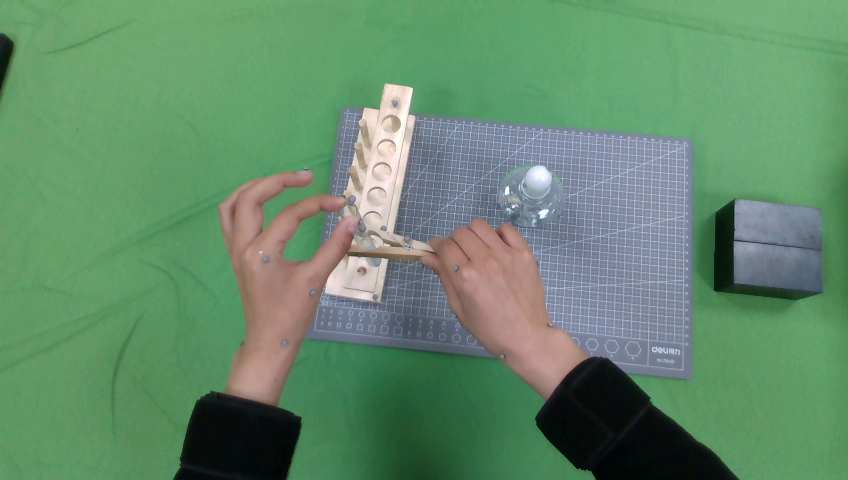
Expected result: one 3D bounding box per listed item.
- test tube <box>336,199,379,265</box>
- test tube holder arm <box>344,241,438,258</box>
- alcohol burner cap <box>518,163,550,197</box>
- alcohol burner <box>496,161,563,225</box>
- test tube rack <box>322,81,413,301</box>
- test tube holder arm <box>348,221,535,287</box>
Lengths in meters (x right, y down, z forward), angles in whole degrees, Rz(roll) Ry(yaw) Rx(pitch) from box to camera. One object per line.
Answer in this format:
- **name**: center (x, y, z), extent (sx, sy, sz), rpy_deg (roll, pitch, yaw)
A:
- **test tube**: center (-0.059, -0.003, 0.558), extent (0.017, 0.151, 0.017), rpy_deg (-1, 72, 4)
- **test tube holder arm**: center (-0.030, 0.009, 0.560), extent (0.088, 0.015, 0.010), rpy_deg (2, 70, 6)
- **alcohol burner cap**: center (0.121, -0.068, 0.659), extent (0.034, 0.048, 0.033), rpy_deg (0, 81, 3)
- **alcohol burner**: center (0.123, -0.059, 0.694), extent (0.078, 0.119, 0.077), rpy_deg (0, 77, 1)
- **test tube rack**: center (-0.067, -0.058, 0.708), extent (0.067, 0.085, 0.241), rpy_deg (10, 77, 3)
- **test tube holder arm**: center (0.014, 0.012, 0.554), extent (0.178, 0.015, 0.013), rpy_deg (15, 74, 11)
